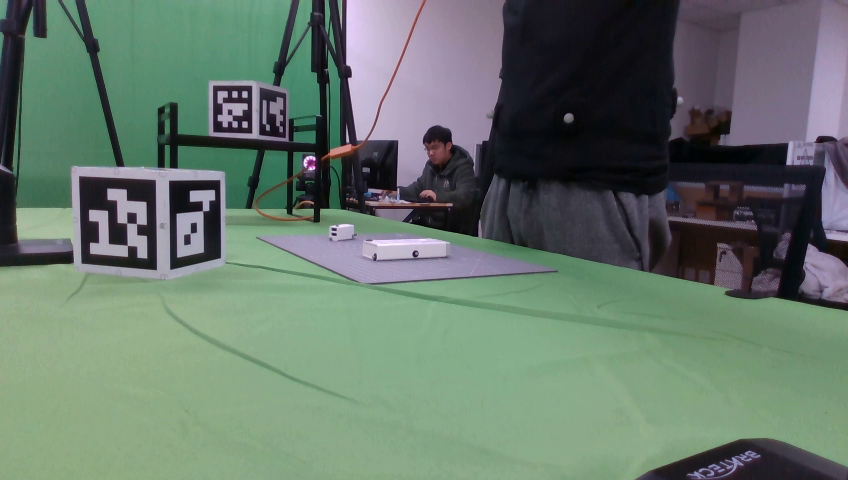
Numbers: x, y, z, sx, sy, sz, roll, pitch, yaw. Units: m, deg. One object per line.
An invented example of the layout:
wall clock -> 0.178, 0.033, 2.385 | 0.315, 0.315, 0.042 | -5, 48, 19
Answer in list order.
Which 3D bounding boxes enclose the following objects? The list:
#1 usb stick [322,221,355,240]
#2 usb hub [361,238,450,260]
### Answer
usb stick -> -0.151, -0.016, 1.058 | 0.021, 0.027, 0.059 | -27, -13, 40
usb hub -> -0.026, 0.013, 0.894 | 0.126, 0.025, 0.049 | -1, 7, -32
